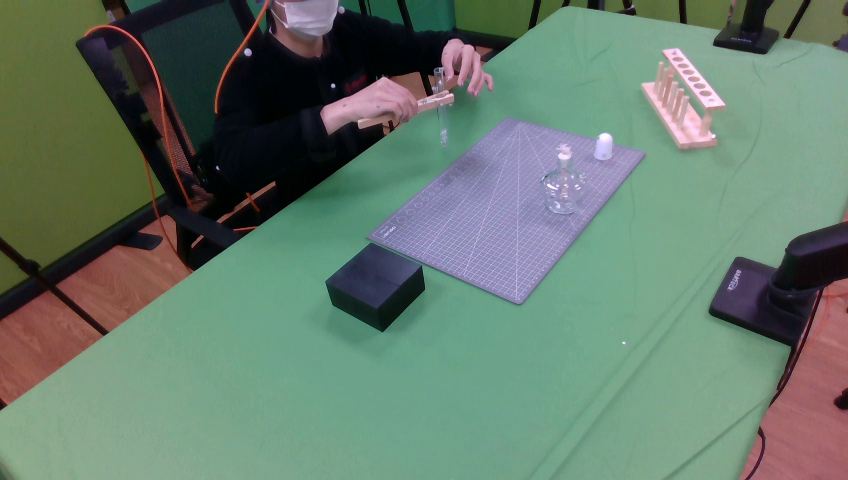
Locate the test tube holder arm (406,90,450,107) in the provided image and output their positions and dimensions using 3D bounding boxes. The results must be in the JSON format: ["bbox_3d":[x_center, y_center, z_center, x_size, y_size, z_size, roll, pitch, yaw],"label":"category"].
[{"bbox_3d":[0.008,-0.238,1.043,0.088,0.015,0.010,-26,45,-25],"label":"test tube holder arm"}]

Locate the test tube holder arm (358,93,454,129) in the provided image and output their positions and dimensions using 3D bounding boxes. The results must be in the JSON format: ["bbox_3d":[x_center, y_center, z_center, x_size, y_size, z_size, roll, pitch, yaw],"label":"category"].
[{"bbox_3d":[-0.028,-0.219,1.022,0.179,0.015,0.013,-22,43,-21],"label":"test tube holder arm"}]

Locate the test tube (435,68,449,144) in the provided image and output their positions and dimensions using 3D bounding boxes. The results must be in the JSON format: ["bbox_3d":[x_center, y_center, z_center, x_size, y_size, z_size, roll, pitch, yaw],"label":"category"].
[{"bbox_3d":[0.032,-0.232,1.062,0.017,0.151,0.017,-3,44,4],"label":"test tube"}]

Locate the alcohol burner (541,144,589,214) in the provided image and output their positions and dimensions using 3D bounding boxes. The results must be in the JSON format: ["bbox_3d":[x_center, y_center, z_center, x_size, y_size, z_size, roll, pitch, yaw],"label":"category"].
[{"bbox_3d":[0.229,-0.102,0.983,0.078,0.119,0.077,-6,41,5],"label":"alcohol burner"}]

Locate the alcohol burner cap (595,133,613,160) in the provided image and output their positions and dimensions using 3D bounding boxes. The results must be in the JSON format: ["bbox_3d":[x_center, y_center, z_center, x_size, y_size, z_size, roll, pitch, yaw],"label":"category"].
[{"bbox_3d":[0.330,-0.172,1.104,0.034,0.048,0.033,-5,41,5],"label":"alcohol burner cap"}]

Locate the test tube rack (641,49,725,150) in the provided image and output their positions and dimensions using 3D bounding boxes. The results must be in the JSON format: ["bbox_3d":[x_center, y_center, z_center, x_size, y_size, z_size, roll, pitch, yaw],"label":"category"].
[{"bbox_3d":[0.495,-0.279,1.175,0.067,0.085,0.241,-5,41,3],"label":"test tube rack"}]
